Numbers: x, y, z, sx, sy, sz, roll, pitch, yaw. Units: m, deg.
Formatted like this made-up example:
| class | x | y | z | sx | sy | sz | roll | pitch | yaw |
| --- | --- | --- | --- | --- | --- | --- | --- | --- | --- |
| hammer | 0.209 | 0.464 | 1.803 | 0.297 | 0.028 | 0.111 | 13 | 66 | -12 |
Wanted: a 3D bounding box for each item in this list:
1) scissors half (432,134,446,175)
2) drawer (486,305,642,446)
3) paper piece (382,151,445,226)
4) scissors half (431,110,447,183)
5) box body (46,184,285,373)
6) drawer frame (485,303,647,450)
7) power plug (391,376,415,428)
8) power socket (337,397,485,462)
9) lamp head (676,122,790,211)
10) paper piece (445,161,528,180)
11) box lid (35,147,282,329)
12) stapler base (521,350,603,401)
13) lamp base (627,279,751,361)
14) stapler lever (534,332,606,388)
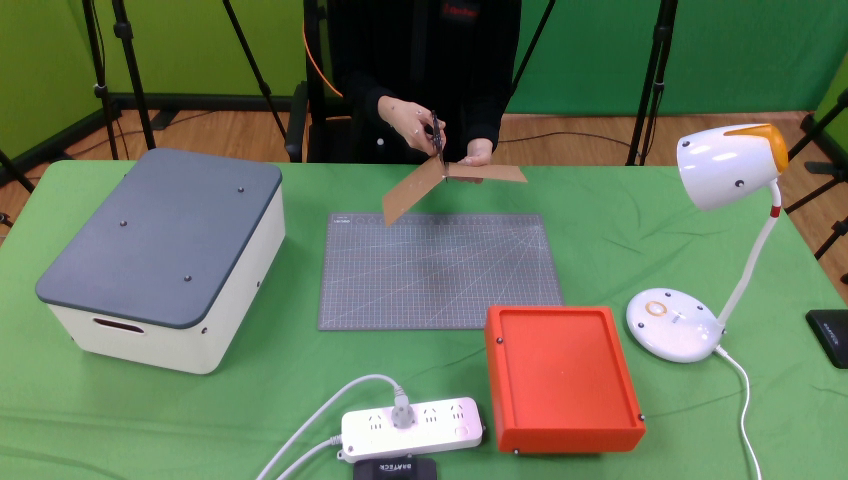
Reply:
| class | x | y | z | sx | sy | sz | roll | pitch | yaw |
| --- | --- | --- | --- | --- | --- | --- | --- | --- | --- |
| scissors half | 0.028 | -0.146 | 1.058 | 0.013 | 0.040 | 0.174 | -5 | 26 | -2 |
| drawer | 0.202 | 0.200 | 0.919 | 0.195 | 0.073 | 0.210 | 2 | 47 | -4 |
| paper piece | -0.021 | -0.093 | 1.052 | 0.135 | 0.004 | 0.135 | -39 | 24 | 14 |
| scissors half | 0.027 | -0.164 | 1.044 | 0.013 | 0.040 | 0.174 | -9 | 55 | 1 |
| box body | -0.414 | 0.029 | 1.040 | 0.254 | 0.161 | 0.362 | 10 | 46 | 5 |
| drawer frame | 0.204 | 0.202 | 0.917 | 0.202 | 0.083 | 0.212 | 1 | 47 | -4 |
| power plug | -0.030 | 0.249 | 0.917 | 0.035 | 0.053 | 0.072 | 3 | 46 | 0 |
| power socket | -0.018 | 0.285 | 0.915 | 0.227 | 0.033 | 0.071 | -4 | 46 | -8 |
| lamp head | 0.423 | -0.104 | 0.819 | 0.122 | 0.113 | 0.112 | -13 | 33 | 40 |
| paper piece | 0.104 | -0.122 | 1.043 | 0.136 | 0.008 | 0.138 | 7 | 16 | -1 |
| box lid | -0.411 | -0.023 | 0.987 | 0.263 | 0.015 | 0.369 | 10 | 47 | 5 |
| stapler base | 0.217 | 0.203 | 0.942 | 0.130 | 0.024 | 0.041 | 26 | 34 | 16 |
| lamp base | 0.460 | 0.100 | 1.027 | 0.178 | 0.181 | 0.160 | 27 | 51 | 17 |
| stapler lever | 0.225 | 0.182 | 0.929 | 0.118 | 0.040 | 0.027 | 26 | 34 | 15 |
